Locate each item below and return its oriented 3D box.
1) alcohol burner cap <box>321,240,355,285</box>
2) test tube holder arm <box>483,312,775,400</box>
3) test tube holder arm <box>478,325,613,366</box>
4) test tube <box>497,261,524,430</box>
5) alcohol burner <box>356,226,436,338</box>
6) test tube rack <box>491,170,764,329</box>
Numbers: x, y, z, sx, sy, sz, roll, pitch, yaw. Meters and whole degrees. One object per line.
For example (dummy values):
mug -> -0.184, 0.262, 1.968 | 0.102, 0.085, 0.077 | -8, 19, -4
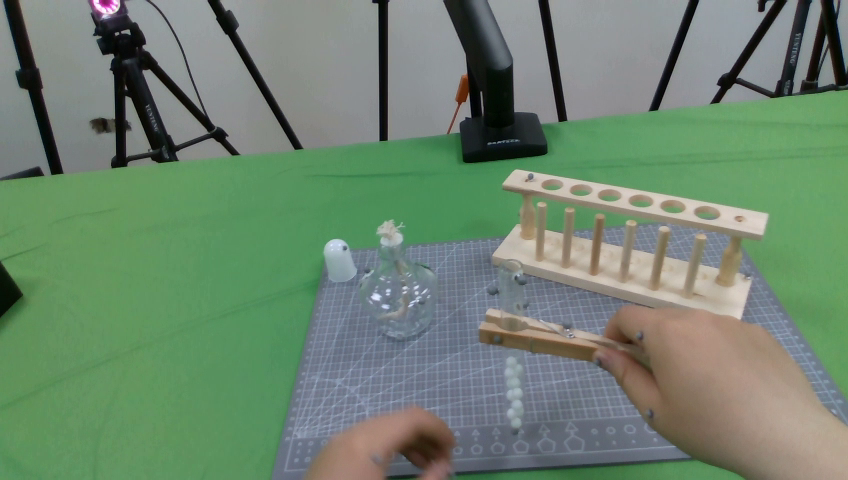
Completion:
alcohol burner cap -> -0.095, 0.021, 0.661 | 0.034, 0.048, 0.033 | -4, 37, 4
test tube holder arm -> 0.122, 0.071, 0.385 | 0.177, 0.015, 0.013 | 10, 43, 23
test tube holder arm -> 0.078, 0.069, 0.397 | 0.087, 0.015, 0.010 | 5, 41, 18
test tube -> 0.060, 0.079, 0.419 | 0.017, 0.151, 0.017 | -5, 33, 3
alcohol burner -> -0.028, 0.035, 0.568 | 0.078, 0.120, 0.077 | -4, 37, 3
test tube rack -> 0.186, 0.003, 0.594 | 0.240, 0.086, 0.066 | 14, 42, 28
